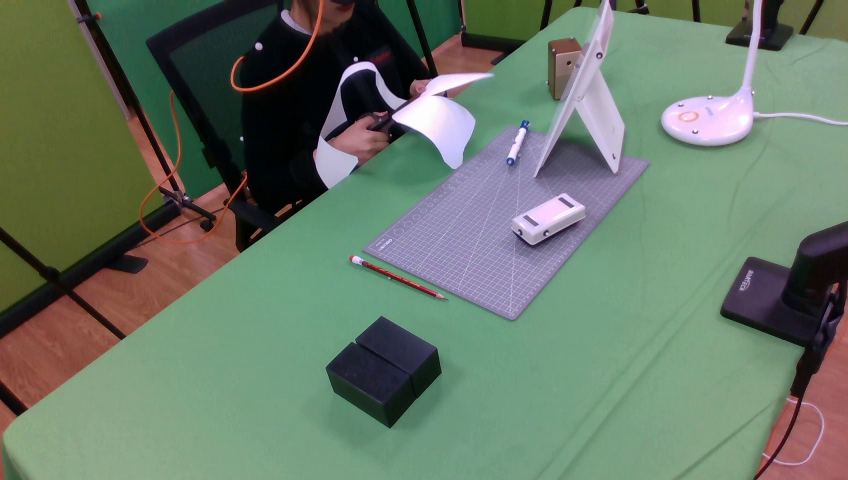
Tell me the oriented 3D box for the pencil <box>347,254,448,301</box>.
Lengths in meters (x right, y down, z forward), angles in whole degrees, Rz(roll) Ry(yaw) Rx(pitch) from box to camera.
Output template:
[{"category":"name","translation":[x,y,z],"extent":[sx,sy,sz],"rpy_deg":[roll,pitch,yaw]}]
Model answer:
[{"category":"pencil","translation":[-0.044,0.058,0.933],"extent":[0.192,0.012,0.012],"rpy_deg":[22,49,28]}]

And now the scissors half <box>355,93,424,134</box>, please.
[{"category":"scissors half","translation":[-0.073,-0.261,1.225],"extent":[0.174,0.040,0.013],"rpy_deg":[-19,13,29]}]

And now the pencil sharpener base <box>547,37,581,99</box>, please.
[{"category":"pencil sharpener base","translation":[0.299,-0.368,1.290],"extent":[0.061,0.107,0.076],"rpy_deg":[-8,40,2]}]

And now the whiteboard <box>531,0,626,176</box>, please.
[{"category":"whiteboard","translation":[0.320,-0.258,1.050],"extent":[0.144,0.306,0.217],"rpy_deg":[22,45,5]}]

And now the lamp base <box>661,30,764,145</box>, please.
[{"category":"lamp base","translation":[0.535,-0.287,1.096],"extent":[0.179,0.181,0.159],"rpy_deg":[-10,40,-4]}]

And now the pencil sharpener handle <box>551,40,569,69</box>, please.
[{"category":"pencil sharpener handle","translation":[0.291,-0.409,1.320],"extent":[0.036,0.068,0.030],"rpy_deg":[2,40,-6]}]

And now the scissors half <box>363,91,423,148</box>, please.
[{"category":"scissors half","translation":[-0.062,-0.244,1.226],"extent":[0.040,0.174,0.013],"rpy_deg":[51,31,3]}]

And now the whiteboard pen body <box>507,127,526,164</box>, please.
[{"category":"whiteboard pen body","translation":[0.181,-0.189,1.162],"extent":[0.017,0.017,0.140],"rpy_deg":[7,42,19]}]

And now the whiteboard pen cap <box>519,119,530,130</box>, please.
[{"category":"whiteboard pen cap","translation":[0.199,-0.226,1.204],"extent":[0.018,0.018,0.033],"rpy_deg":[7,41,18]}]

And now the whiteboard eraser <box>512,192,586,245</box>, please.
[{"category":"whiteboard eraser","translation":[0.199,-0.032,0.962],"extent":[0.113,0.042,0.055],"rpy_deg":[-27,43,-20]}]
